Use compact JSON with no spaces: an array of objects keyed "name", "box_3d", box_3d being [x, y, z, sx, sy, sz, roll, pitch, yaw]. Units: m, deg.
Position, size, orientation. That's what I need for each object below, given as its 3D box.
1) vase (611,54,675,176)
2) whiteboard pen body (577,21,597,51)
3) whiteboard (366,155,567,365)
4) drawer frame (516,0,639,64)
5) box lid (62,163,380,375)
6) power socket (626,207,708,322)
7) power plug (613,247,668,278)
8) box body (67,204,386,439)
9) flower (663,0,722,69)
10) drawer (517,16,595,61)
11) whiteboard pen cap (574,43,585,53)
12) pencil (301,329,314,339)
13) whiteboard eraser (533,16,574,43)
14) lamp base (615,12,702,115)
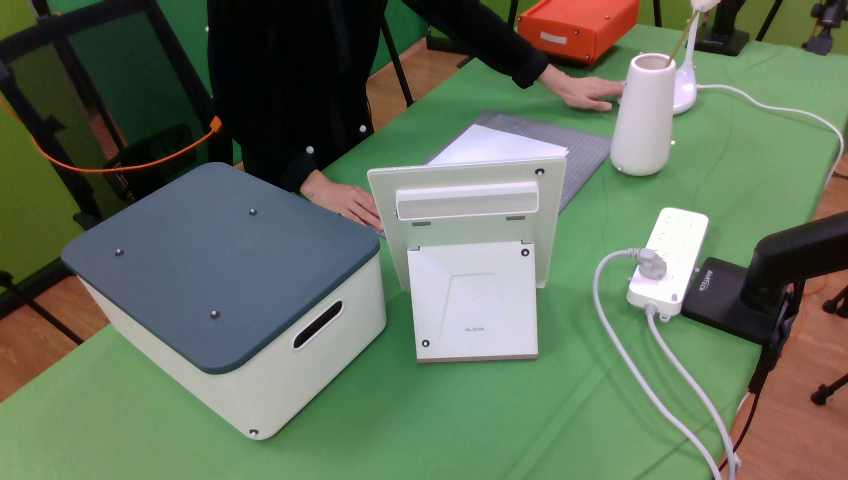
[{"name":"vase","box_3d":[0.377,-0.209,1.031,0.098,0.201,0.097,-3,40,3]},{"name":"whiteboard pen body","box_3d":[0.373,-0.468,1.390,0.017,0.017,0.141,14,47,23]},{"name":"whiteboard","box_3d":[0.059,0.049,0.738,0.217,0.307,0.143,-3,60,5]},{"name":"drawer frame","box_3d":[0.356,-0.507,1.410,0.200,0.083,0.214,25,51,32]},{"name":"box lid","box_3d":[-0.263,0.012,0.774,0.368,0.015,0.264,23,49,32]},{"name":"power socket","box_3d":[0.359,0.026,0.886,0.072,0.033,0.227,16,46,26]},{"name":"power plug","box_3d":[0.306,0.032,0.851,0.072,0.053,0.035,24,49,34]},{"name":"box body","box_3d":[-0.257,0.068,0.824,0.361,0.161,0.255,24,49,31]},{"name":"flower","box_3d":[0.379,-0.261,0.965,0.044,0.362,0.038,21,53,5]},{"name":"drawer","box_3d":[0.352,-0.505,1.404,0.193,0.073,0.212,25,50,33]},{"name":"whiteboard pen cap","box_3d":[0.346,-0.430,1.350,0.018,0.018,0.033,16,39,25]},{"name":"pencil","box_3d":[-0.203,0.116,0.877,0.192,0.012,0.012,21,47,39]},{"name":"whiteboard eraser","box_3d":[0.305,-0.493,1.422,0.055,0.042,0.113,27,43,25]},{"name":"lamp base","box_3d":[0.484,-0.363,1.211,0.180,0.181,0.159,-16,41,-13]}]
